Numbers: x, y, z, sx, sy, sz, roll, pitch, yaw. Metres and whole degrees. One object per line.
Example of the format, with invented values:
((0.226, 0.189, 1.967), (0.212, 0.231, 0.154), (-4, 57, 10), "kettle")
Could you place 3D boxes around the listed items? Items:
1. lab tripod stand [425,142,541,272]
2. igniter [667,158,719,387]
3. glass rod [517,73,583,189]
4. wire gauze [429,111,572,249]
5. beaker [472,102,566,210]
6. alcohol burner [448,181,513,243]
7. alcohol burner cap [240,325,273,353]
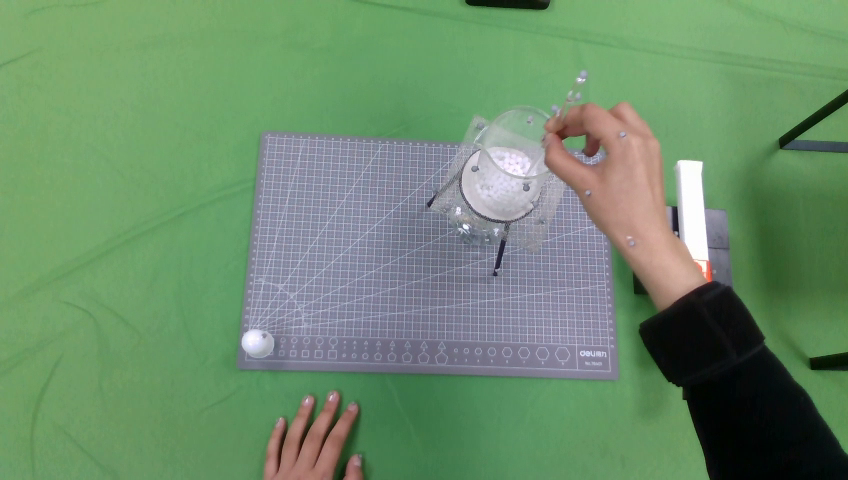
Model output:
((0.077, -0.050, 0.704), (0.148, 0.132, 0.147), (1, 73, -4), "lab tripod stand")
((0.313, 0.033, 0.712), (0.057, 0.025, 0.275), (4, 73, 0), "igniter")
((0.106, -0.088, 0.532), (0.008, 0.200, 0.008), (1, 71, -4), "glass rod")
((0.084, -0.064, 0.640), (0.121, 0.011, 0.124), (25, 71, 0), "wire gauze")
((0.085, -0.077, 0.593), (0.084, 0.100, 0.073), (2, 73, -3), "beaker")
((0.069, -0.038, 0.710), (0.078, 0.119, 0.077), (1, 76, -3), "alcohol burner")
((-0.192, 0.110, 0.685), (0.034, 0.048, 0.033), (1, 75, -5), "alcohol burner cap")
